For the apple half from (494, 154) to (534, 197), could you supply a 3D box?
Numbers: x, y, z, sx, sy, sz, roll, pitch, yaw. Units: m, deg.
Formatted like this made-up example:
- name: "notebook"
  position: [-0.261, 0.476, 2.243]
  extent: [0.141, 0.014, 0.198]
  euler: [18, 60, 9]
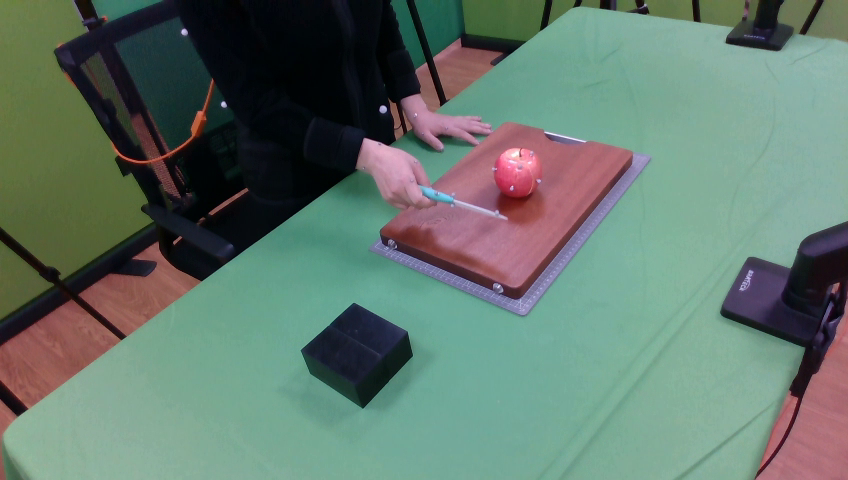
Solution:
- name: "apple half"
  position: [0.140, -0.098, 0.989]
  extent: [0.080, 0.081, 0.033]
  euler: [27, 50, 35]

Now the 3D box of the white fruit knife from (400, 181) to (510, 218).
- name: "white fruit knife"
  position: [0.042, -0.062, 0.923]
  extent: [0.206, 0.027, 0.016]
  euler: [19, 79, 32]

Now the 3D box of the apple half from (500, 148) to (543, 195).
- name: "apple half"
  position: [0.166, -0.118, 1.010]
  extent: [0.080, 0.075, 0.053]
  euler: [23, 46, 38]
